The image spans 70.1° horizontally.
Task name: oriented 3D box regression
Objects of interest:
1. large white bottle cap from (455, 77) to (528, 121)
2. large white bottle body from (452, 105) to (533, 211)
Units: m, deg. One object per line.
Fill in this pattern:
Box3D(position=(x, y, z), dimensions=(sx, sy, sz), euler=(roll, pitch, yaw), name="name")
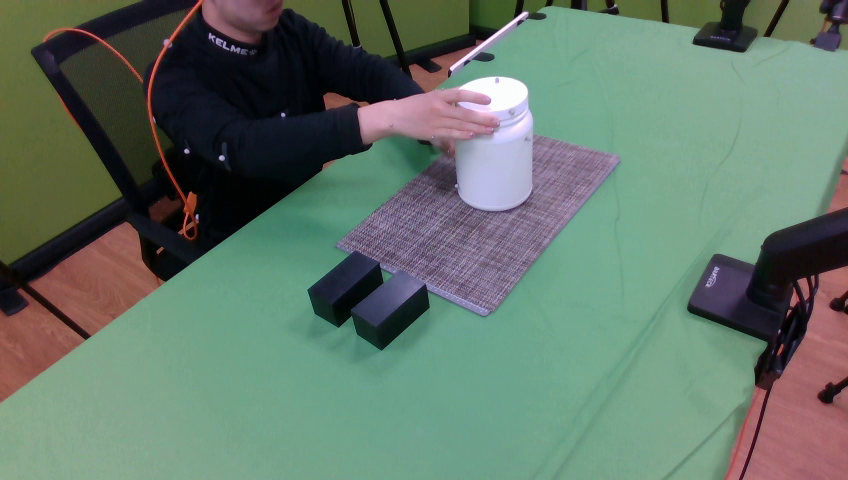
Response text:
Box3D(position=(0.105, -0.222, 0.943), dimensions=(0.115, 0.018, 0.114), euler=(-4, 40, 4), name="large white bottle cap")
Box3D(position=(0.115, -0.155, 1.000), dimensions=(0.130, 0.185, 0.130), euler=(-4, 41, 4), name="large white bottle body")
